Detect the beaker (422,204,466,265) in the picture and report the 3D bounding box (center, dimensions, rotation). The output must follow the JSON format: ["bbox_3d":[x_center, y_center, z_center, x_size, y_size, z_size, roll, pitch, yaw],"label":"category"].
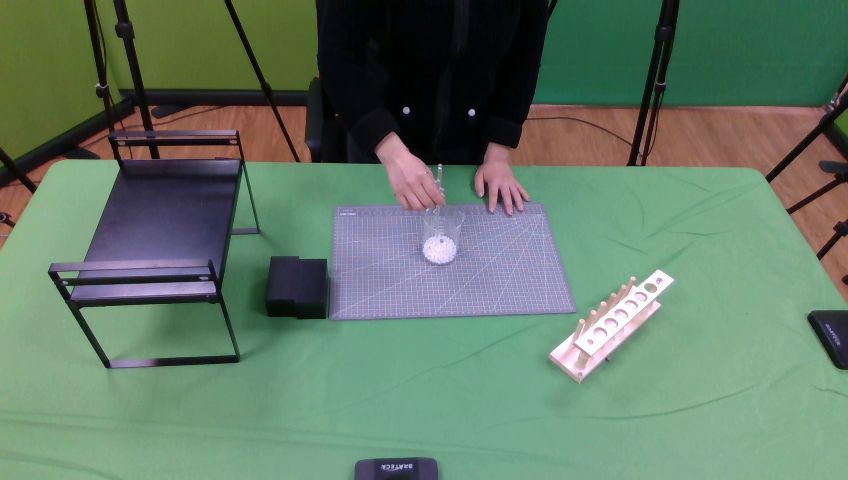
[{"bbox_3d":[0.035,-0.008,1.151,0.084,0.101,0.073,-9,48,-13],"label":"beaker"}]

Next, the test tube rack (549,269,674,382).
[{"bbox_3d":[0.325,0.134,1.047,0.242,0.085,0.066,-32,56,-30],"label":"test tube rack"}]

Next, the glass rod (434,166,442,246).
[{"bbox_3d":[0.025,-0.057,1.100,0.008,0.201,0.008,1,47,-1],"label":"glass rod"}]
